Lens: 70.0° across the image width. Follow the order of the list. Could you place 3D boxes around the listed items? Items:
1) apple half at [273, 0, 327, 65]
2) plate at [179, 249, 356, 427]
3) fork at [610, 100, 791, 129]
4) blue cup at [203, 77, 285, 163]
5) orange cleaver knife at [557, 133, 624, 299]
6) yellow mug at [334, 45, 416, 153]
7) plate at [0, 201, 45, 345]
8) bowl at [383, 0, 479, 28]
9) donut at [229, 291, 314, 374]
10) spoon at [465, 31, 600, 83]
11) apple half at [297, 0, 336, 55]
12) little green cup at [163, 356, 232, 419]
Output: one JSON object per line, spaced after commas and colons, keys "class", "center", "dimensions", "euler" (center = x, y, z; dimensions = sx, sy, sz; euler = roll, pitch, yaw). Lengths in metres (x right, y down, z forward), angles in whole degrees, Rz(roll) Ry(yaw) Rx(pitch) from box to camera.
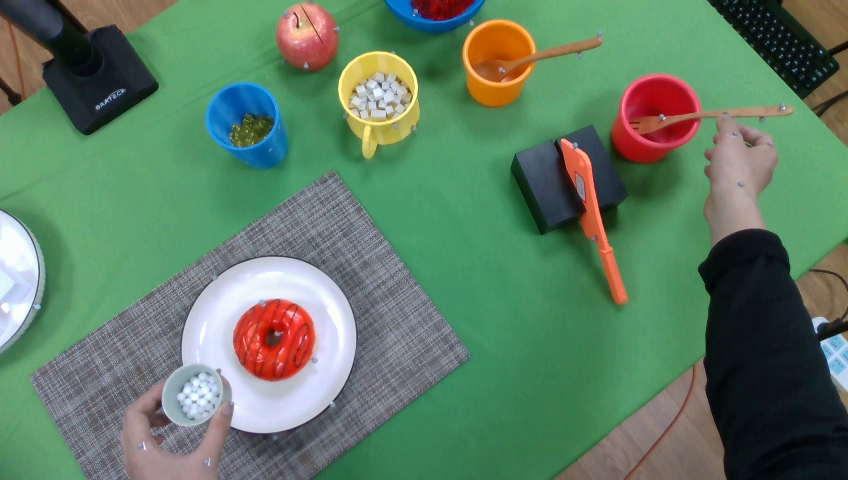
{"class": "apple half", "center": [-0.167, -0.264, 0.792], "dimensions": [0.053, 0.075, 0.080], "euler": [-31, 82, -3]}
{"class": "plate", "center": [-0.183, 0.114, 0.726], "dimensions": [0.209, 0.038, 0.208], "euler": [0, 78, 1]}
{"class": "fork", "center": [0.322, -0.153, 0.726], "dimensions": [0.206, 0.019, 0.028], "euler": [3, 60, 45]}
{"class": "blue cup", "center": [-0.214, -0.140, 0.752], "dimensions": [0.092, 0.100, 0.092], "euler": [0, 79, -1]}
{"class": "orange cleaver knife", "center": [0.200, -0.029, 0.733], "dimensions": [0.012, 0.076, 0.212], "euler": [-23, 108, -7]}
{"class": "yellow mug", "center": [-0.064, -0.174, 0.775], "dimensions": [0.100, 0.064, 0.130], "euler": [12, 79, 2]}
{"class": "plate", "center": [-0.568, 0.048, 0.748], "dimensions": [0.208, 0.039, 0.206], "euler": [0, 78, 1]}
{"class": "bowl", "center": [0.010, -0.340, 0.803], "dimensions": [0.151, 0.077, 0.150], "euler": [0, 79, 1]}
{"class": "donut", "center": [-0.180, 0.109, 0.715], "dimensions": [0.099, 0.048, 0.098], "euler": [0, 79, 2]}
{"class": "spoon", "center": [0.126, -0.227, 0.742], "dimensions": [0.022, 0.192, 0.041], "euler": [22, 74, -39]}
{"class": "apple half", "center": [-0.134, -0.284, 0.794], "dimensions": [0.033, 0.081, 0.081], "euler": [-30, 79, -3]}
{"class": "little green cup", "center": [-0.226, 0.151, 0.613], "dimensions": [0.061, 0.039, 0.061], "euler": [-1, 73, 4]}
